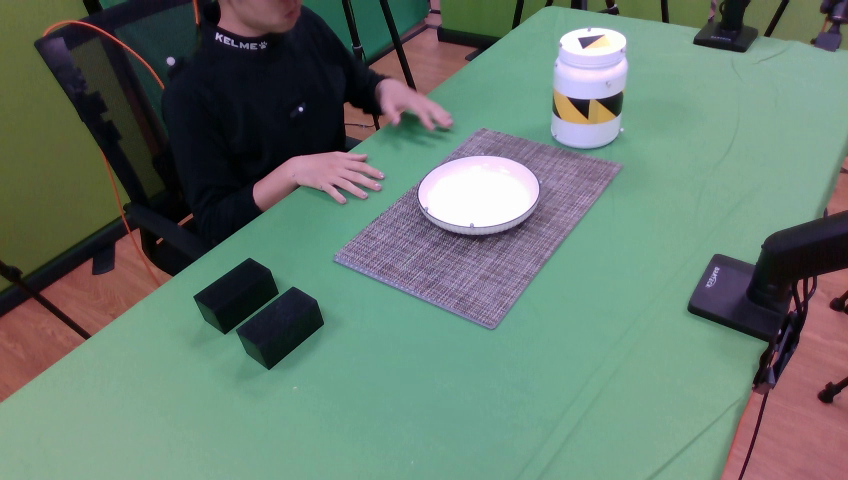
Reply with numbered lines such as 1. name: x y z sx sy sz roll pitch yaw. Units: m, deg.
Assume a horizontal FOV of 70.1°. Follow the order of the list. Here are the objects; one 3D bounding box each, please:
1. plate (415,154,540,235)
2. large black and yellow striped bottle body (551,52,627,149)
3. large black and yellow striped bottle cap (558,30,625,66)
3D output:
1. plate: 0.090 -0.074 1.025 0.207 0.039 0.206 -4 41 4
2. large black and yellow striped bottle body: 0.305 -0.278 1.125 0.131 0.185 0.130 -4 41 4
3. large black and yellow striped bottle cap: 0.297 -0.342 1.071 0.115 0.019 0.114 -3 42 4
